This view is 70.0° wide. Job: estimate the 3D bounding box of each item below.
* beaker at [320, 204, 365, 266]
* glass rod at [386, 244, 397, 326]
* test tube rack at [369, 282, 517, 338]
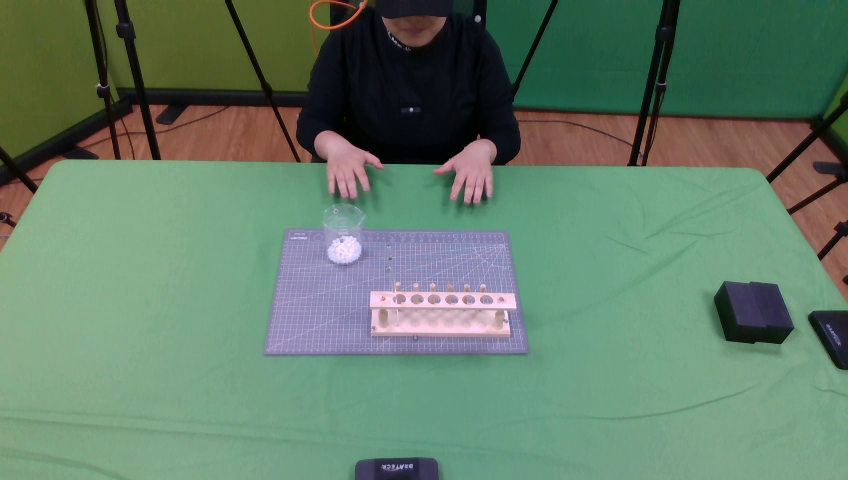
[{"bbox_3d":[-0.151,-0.008,1.137,0.084,0.101,0.073,-12,49,-16],"label":"beaker"},{"bbox_3d":[-0.052,0.077,0.979,0.008,0.201,0.008,-1,45,1],"label":"glass rod"},{"bbox_3d":[0.030,0.116,1.041,0.242,0.085,0.066,1,46,-3],"label":"test tube rack"}]
